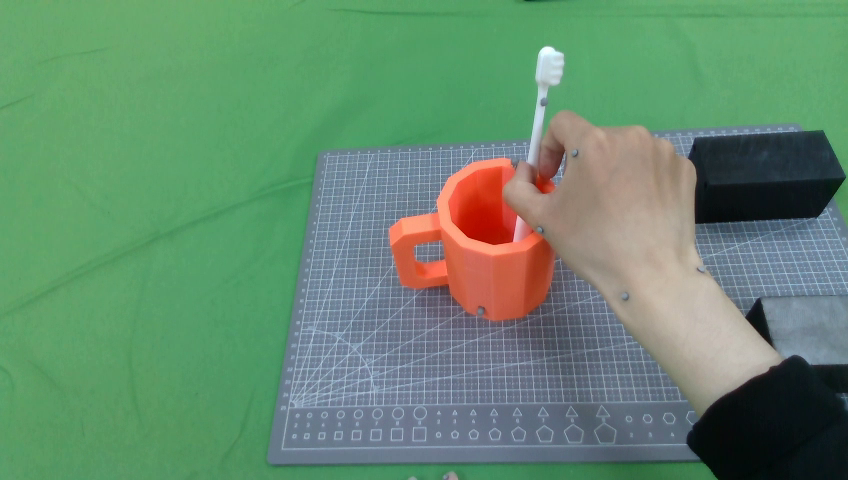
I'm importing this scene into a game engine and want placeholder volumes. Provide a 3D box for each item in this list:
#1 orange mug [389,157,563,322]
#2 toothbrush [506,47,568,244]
[{"bbox_3d":[0.039,0.004,0.455,0.126,0.102,0.082,-7,55,-3],"label":"orange mug"},{"bbox_3d":[0.072,-0.038,0.418,0.016,0.183,0.014,24,27,34],"label":"toothbrush"}]
